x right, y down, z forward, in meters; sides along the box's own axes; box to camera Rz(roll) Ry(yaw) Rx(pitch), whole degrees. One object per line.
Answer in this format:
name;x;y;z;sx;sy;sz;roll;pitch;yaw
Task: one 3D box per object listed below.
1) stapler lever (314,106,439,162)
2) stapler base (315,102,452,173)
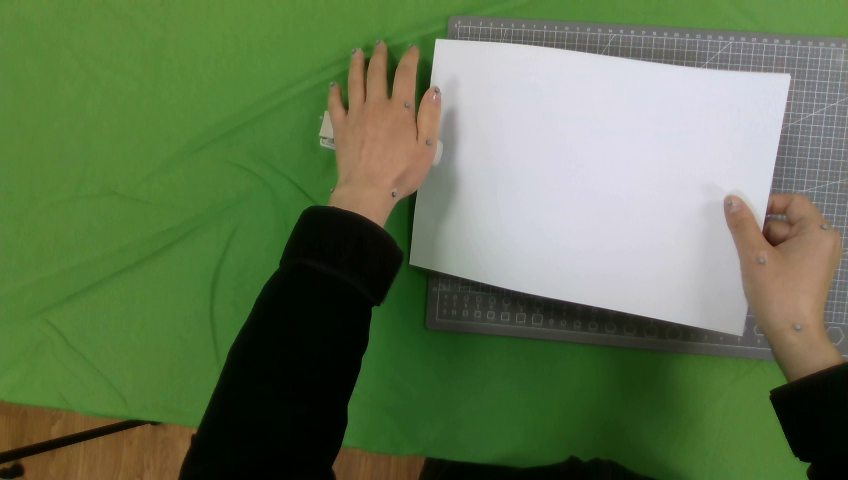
stapler lever;-0.045;-0.097;0.548;0.118;0.040;0.027;15;92;6
stapler base;-0.040;-0.098;0.573;0.130;0.024;0.041;15;92;5
